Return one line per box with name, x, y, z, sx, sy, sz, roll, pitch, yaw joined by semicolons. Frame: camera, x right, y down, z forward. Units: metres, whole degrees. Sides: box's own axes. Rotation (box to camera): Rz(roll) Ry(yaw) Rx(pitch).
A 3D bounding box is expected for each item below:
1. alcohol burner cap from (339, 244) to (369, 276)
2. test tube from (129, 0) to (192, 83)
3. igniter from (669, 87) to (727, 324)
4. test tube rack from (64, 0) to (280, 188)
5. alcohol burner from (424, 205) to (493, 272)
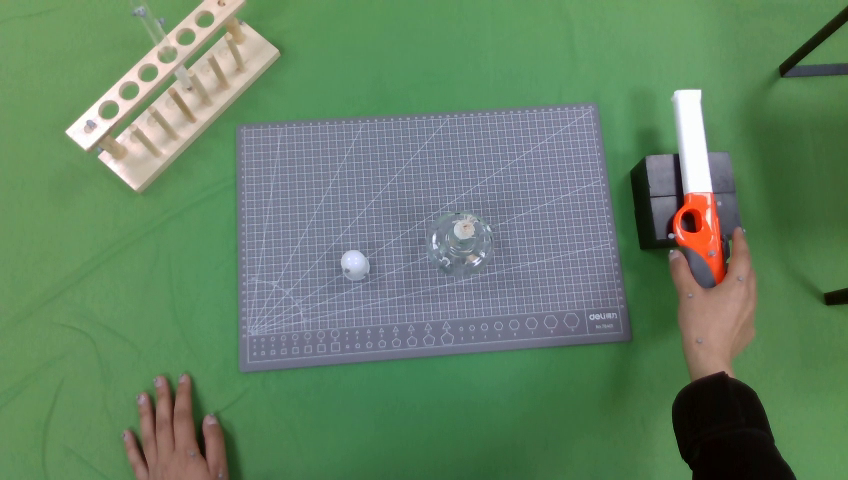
alcohol burner cap;-0.081;0.022;0.691;0.034;0.048;0.033;0;77;0
test tube;-0.285;-0.218;0.665;0.017;0.151;0.017;0;72;-1
igniter;0.305;-0.044;0.682;0.057;0.025;0.275;0;76;2
test tube rack;-0.284;-0.181;0.707;0.066;0.085;0.242;40;79;7
alcohol burner;0.039;-0.006;0.665;0.078;0.119;0.077;1;76;-3
